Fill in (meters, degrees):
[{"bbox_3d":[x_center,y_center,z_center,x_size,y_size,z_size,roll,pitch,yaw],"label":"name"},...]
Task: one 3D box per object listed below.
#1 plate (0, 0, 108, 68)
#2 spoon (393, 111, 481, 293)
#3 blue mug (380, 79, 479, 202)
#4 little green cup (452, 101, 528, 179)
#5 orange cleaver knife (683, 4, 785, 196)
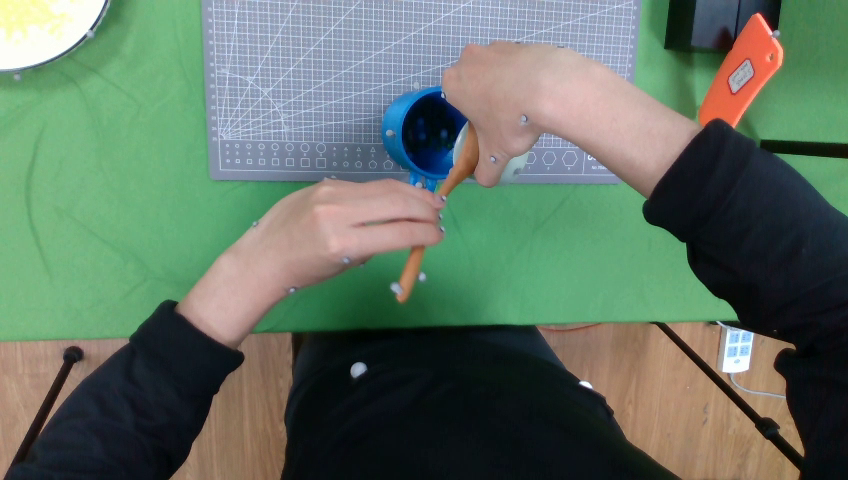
[{"bbox_3d":[-0.370,-0.252,0.508,0.210,0.038,0.210,-3,104,-11],"label":"plate"},{"bbox_3d":[0.012,-0.034,0.458,0.021,0.192,0.042,9,139,23],"label":"spoon"},{"bbox_3d":[0.002,-0.095,0.590,0.082,0.105,0.117,7,101,-14],"label":"blue mug"},{"bbox_3d":[0.057,-0.082,0.517,0.039,0.061,0.061,21,98,-35],"label":"little green cup"},{"bbox_3d":[0.324,-0.144,0.661,0.012,0.076,0.213,-2,134,-12],"label":"orange cleaver knife"}]
